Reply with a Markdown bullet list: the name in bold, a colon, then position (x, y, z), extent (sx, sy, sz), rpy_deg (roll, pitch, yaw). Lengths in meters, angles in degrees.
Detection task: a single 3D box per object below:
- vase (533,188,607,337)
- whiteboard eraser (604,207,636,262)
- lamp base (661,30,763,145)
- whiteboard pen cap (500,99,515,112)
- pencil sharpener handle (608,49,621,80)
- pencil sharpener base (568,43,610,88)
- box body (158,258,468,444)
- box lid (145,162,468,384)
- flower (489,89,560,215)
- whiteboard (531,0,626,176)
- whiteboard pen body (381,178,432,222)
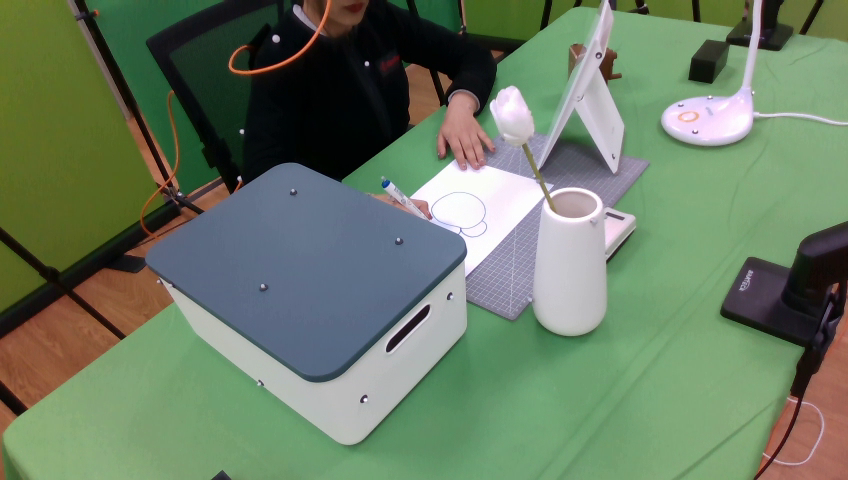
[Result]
- **vase**: position (0.187, 0.033, 0.771), extent (0.098, 0.201, 0.097), rpy_deg (-6, 41, 6)
- **whiteboard eraser**: position (0.272, -0.003, 0.919), extent (0.055, 0.042, 0.113), rpy_deg (27, 51, 32)
- **lamp base**: position (0.535, -0.287, 1.096), extent (0.179, 0.181, 0.159), rpy_deg (-10, 40, -4)
- **whiteboard pen cap**: position (0.177, -0.287, 1.290), extent (0.033, 0.018, 0.018), rpy_deg (-37, 47, -26)
- **pencil sharpener handle**: position (0.394, -0.367, 1.253), extent (0.030, 0.068, 0.036), rpy_deg (-9, 32, 1)
- **pencil sharpener base**: position (0.345, -0.352, 1.263), extent (0.077, 0.107, 0.061), rpy_deg (-9, 40, 1)
- **box body**: position (-0.147, 0.072, 0.816), extent (0.361, 0.161, 0.255), rpy_deg (24, 50, 33)
- **box lid**: position (-0.157, 0.014, 0.769), extent (0.368, 0.015, 0.264), rpy_deg (25, 51, 33)
- **flower**: position (0.159, -0.028, 0.720), extent (0.038, 0.364, 0.044), rpy_deg (-15, 44, 23)
- **whiteboard**: position (0.320, -0.259, 1.050), extent (0.144, 0.306, 0.217), rpy_deg (22, 45, 6)
- **whiteboard pen body**: position (-0.019, -0.050, 0.961), extent (0.017, 0.142, 0.017), rpy_deg (-30, 35, 25)
